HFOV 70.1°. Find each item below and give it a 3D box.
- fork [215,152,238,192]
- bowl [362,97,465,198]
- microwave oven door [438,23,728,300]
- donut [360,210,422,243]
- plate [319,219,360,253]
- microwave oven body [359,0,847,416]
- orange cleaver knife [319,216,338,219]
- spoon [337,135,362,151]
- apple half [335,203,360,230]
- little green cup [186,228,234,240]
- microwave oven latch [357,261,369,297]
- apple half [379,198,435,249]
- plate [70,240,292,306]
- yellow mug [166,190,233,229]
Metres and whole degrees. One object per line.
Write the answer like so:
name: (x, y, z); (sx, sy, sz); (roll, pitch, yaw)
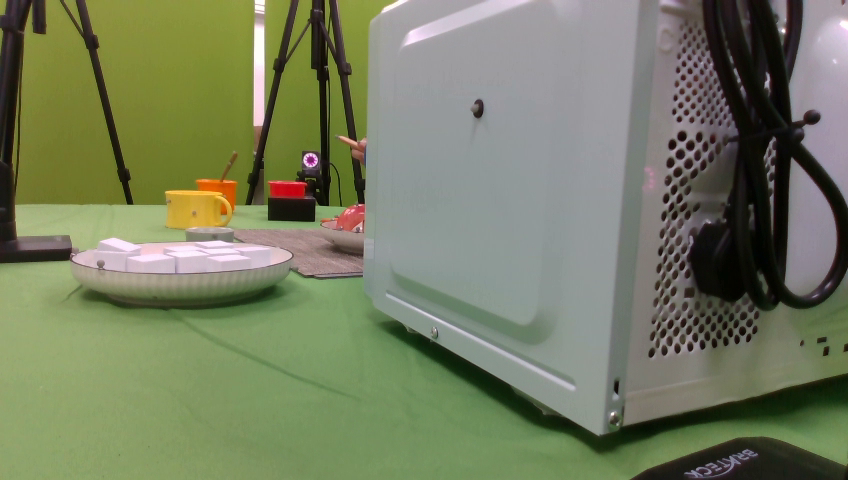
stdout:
fork: (-0.455, -0.132, 1.366); (0.028, 0.018, 0.207); (-3, -35, -38)
bowl: (-0.001, -0.110, 0.827); (0.152, 0.151, 0.076); (-3, 44, -34)
microwave oven door: (0.181, -0.072, 0.621); (0.358, 0.243, 0.039); (-2, 8, -29)
donut: (-0.052, -0.020, 0.958); (0.099, 0.048, 0.099); (7, 7, -1)
plate: (-0.059, -0.007, 0.939); (0.209, 0.038, 0.209); (2, 8, 0)
microwave oven body: (0.211, -0.047, 0.474); (0.444, 0.260, 0.324); (-1, 7, -28)
orange cleaver knife: (-0.142, -0.057, 1.394); (0.077, 0.012, 0.212); (2, 7, 44)
spoon: (-0.085, -0.134, 0.952); (0.042, 0.021, 0.192); (-4, 32, -38)
apple half: (-0.116, -0.038, 0.960); (0.081, 0.033, 0.081); (-37, 8, 7)
little green cup: (-0.284, 0.005, 0.805); (0.061, 0.038, 0.061); (2, 8, 0)
microwave oven latch: (-0.019, 0.033, 0.531); (0.079, 0.029, 0.030); (-1, 7, -27)
apple half: (-0.020, -0.030, 0.891); (0.081, 0.053, 0.074); (-2, 49, -26)
plate: (-0.242, 0.032, 0.618); (0.208, 0.039, 0.207); (2, 8, 0)
yellow mug: (-0.415, -0.057, 1.132); (0.130, 0.064, 0.100); (6, 8, 16)
